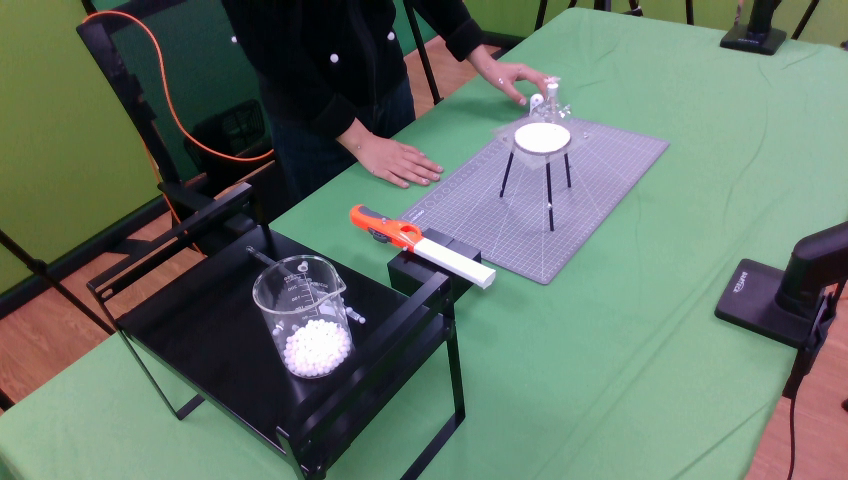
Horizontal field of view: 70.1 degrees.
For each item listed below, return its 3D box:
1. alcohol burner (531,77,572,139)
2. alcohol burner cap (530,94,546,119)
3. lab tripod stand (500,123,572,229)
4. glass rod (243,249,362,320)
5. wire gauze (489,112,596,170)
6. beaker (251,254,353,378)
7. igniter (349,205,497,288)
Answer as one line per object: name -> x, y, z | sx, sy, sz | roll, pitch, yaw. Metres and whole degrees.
alcohol burner -> 0.246, -0.257, 1.165 | 0.078, 0.119, 0.077 | -6, 40, 6
alcohol burner cap -> 0.235, -0.278, 1.246 | 0.034, 0.048, 0.033 | -6, 42, 6
lab tripod stand -> 0.194, -0.110, 0.985 | 0.148, 0.132, 0.147 | -3, 41, 3
glass rod -> -0.141, 0.046, 0.674 | 0.198, 0.008, 0.008 | 24, 49, 32
wire gauze -> 0.183, -0.161, 0.942 | 0.122, 0.011, 0.124 | -24, 44, -18
beaker -> -0.106, 0.074, 0.565 | 0.084, 0.101, 0.073 | -1, 41, 8
igniter -> -0.013, 0.004, 0.897 | 0.274, 0.025, 0.057 | 25, 44, 32
